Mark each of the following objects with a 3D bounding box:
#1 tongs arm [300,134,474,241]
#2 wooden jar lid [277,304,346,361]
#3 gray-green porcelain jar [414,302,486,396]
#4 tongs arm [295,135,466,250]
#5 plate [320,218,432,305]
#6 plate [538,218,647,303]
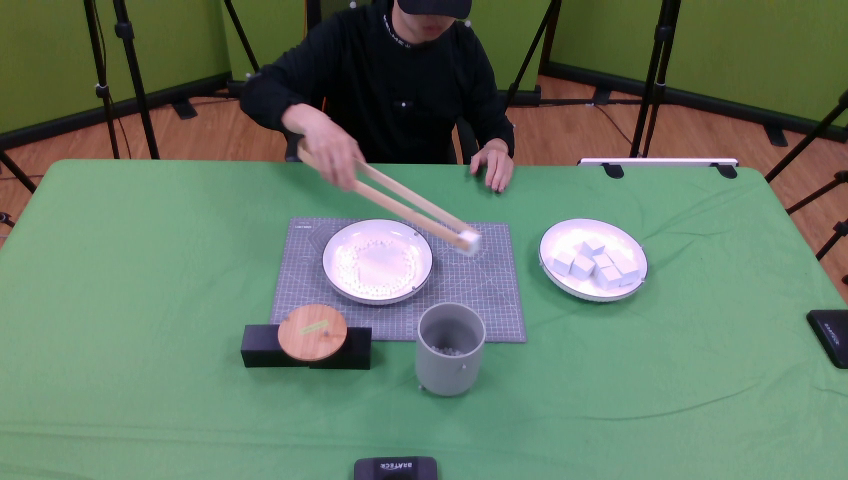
[{"bbox_3d":[-0.073,-0.102,1.125,0.386,0.028,0.028,32,54,15],"label":"tongs arm"},{"bbox_3d":[-0.179,0.150,0.972,0.108,0.021,0.107,2,45,-2],"label":"wooden jar lid"},{"bbox_3d":[0.038,0.177,0.958,0.106,0.127,0.105,2,46,-2],"label":"gray-green porcelain jar"},{"bbox_3d":[-0.085,-0.090,1.112,0.384,0.026,0.050,28,50,12],"label":"tongs arm"},{"bbox_3d":[-0.088,0.044,1.134,0.209,0.038,0.208,2,46,-2],"label":"plate"},{"bbox_3d":[0.322,0.042,1.171,0.208,0.039,0.206,2,46,-2],"label":"plate"}]
